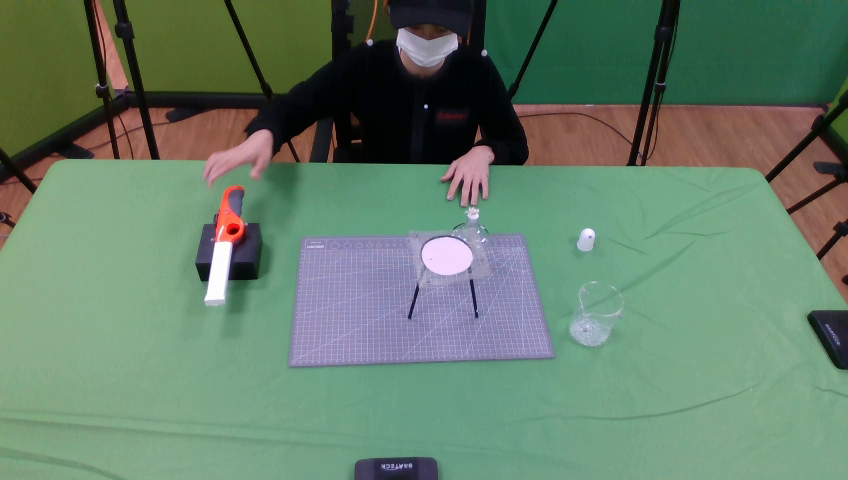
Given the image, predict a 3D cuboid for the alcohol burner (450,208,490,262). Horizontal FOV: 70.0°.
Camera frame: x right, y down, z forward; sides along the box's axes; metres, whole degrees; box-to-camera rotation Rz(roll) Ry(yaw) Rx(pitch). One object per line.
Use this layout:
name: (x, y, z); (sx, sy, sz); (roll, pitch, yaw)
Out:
alcohol burner: (0.088, -0.015, 1.153); (0.078, 0.120, 0.077); (1, 47, -1)

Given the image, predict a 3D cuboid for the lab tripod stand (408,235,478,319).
lab tripod stand: (0.032, 0.065, 1.057); (0.148, 0.132, 0.147); (1, 45, -1)

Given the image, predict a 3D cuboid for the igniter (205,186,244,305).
igniter: (-0.361, 0.001, 1.100); (0.057, 0.025, 0.274); (-2, 49, -6)

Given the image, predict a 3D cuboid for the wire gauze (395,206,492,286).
wire gauze: (0.031, 0.010, 0.993); (0.125, 0.011, 0.120); (-25, 57, -17)

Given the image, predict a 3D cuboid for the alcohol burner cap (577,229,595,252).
alcohol burner cap: (0.326, -0.002, 1.213); (0.034, 0.048, 0.033); (1, 47, -1)

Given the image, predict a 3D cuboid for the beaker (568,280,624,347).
beaker: (0.290, 0.132, 1.041); (0.084, 0.101, 0.073); (-34, 57, -31)
